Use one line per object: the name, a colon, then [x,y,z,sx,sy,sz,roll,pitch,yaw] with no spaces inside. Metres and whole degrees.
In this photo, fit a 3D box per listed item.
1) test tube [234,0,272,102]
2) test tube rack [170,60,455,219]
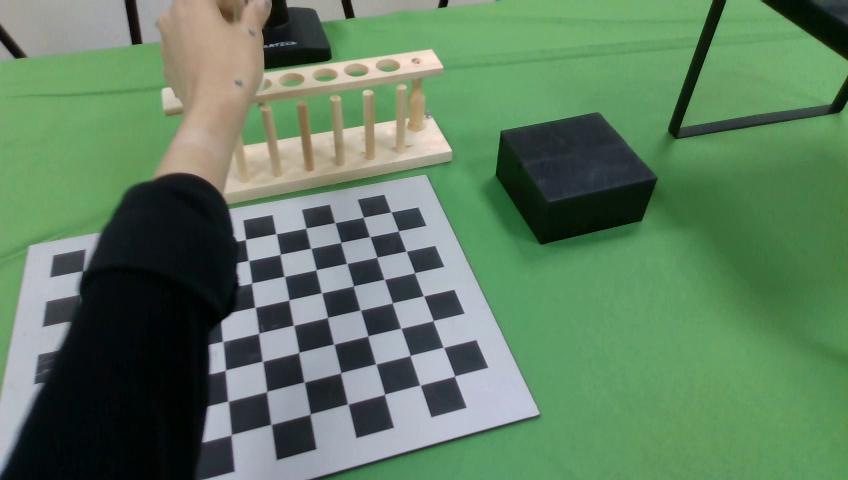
test tube: [-0.136,-0.163,0.473,0.017,0.151,0.017,2,54,-3]
test tube rack: [-0.094,-0.095,0.557,0.243,0.086,0.066,-12,47,-13]
